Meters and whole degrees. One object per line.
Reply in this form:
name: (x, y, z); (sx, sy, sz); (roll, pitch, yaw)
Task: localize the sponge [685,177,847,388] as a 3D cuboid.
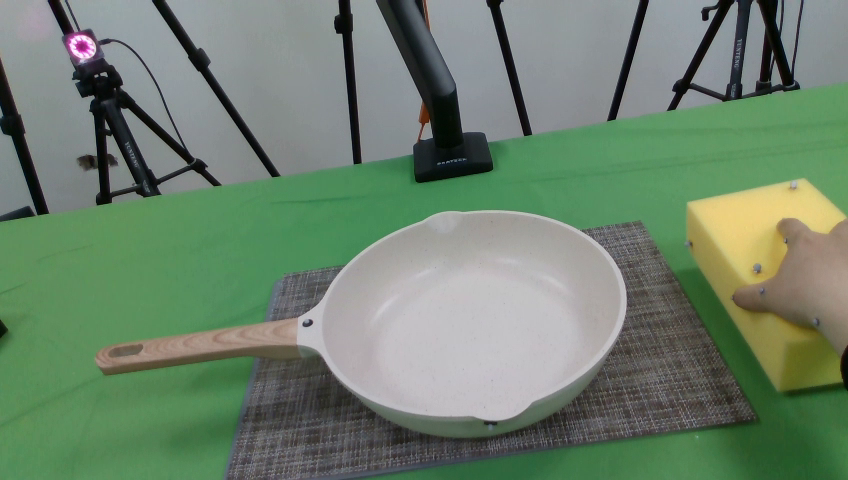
sponge: (0.333, 0.028, 0.547); (0.118, 0.061, 0.205); (-13, 33, 6)

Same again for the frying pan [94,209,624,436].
frying pan: (-0.060, 0.082, 0.584); (0.488, 0.103, 0.303); (-5, 33, -5)
